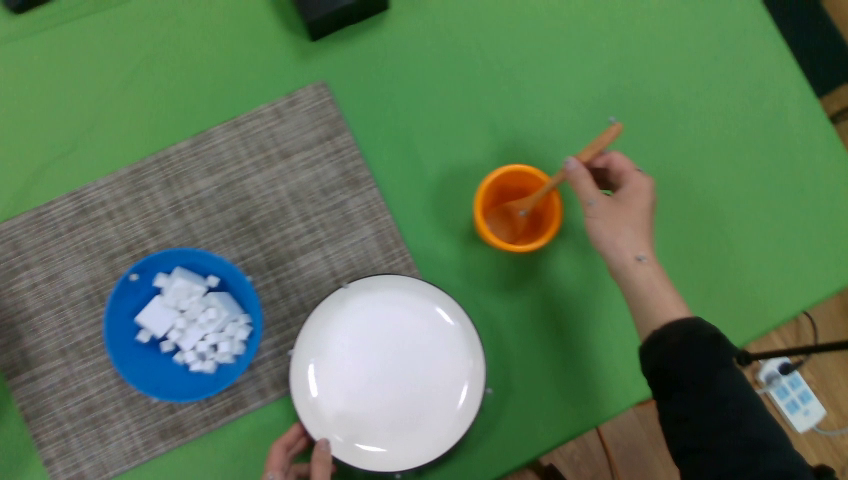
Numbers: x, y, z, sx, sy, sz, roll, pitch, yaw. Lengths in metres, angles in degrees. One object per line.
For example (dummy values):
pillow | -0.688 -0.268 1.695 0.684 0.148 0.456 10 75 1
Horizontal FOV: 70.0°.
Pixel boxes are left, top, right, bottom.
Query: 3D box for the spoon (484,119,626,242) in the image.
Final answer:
spoon | 0.131 -0.057 0.624 0.041 0.194 0.021 52 41 5

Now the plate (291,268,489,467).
plate | -0.035 0.134 0.652 0.208 0.039 0.207 0 87 -4

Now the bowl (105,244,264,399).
bowl | -0.234 0.082 0.625 0.151 0.077 0.151 0 85 -3
